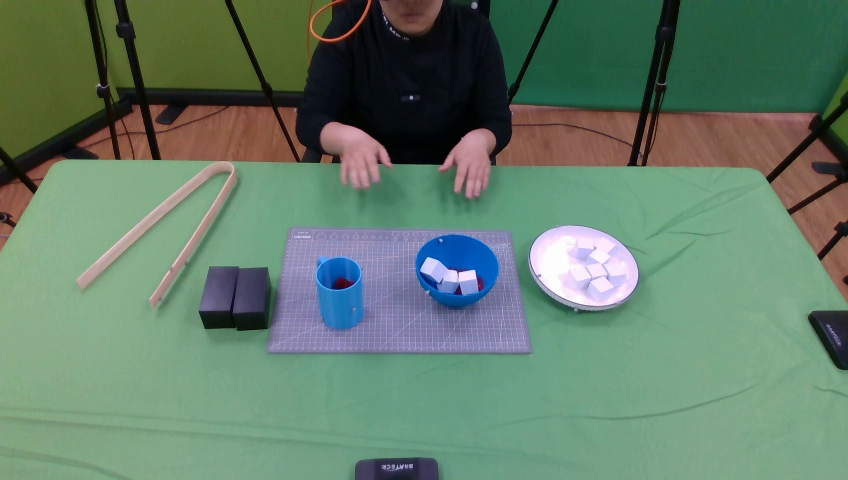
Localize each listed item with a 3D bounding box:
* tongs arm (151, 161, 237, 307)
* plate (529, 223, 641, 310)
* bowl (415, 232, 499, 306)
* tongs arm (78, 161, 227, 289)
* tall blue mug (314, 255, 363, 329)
[{"bbox_3d":[-0.447,-0.026,1.180,0.051,0.027,0.383,8,46,10],"label":"tongs arm"},{"bbox_3d":[0.303,0.053,1.156,0.209,0.038,0.208,2,46,-1],"label":"plate"},{"bbox_3d":[0.057,0.067,1.093,0.151,0.077,0.150,2,46,-2],"label":"bowl"},{"bbox_3d":[-0.524,-0.043,1.196,0.028,0.028,0.386,15,47,22],"label":"tongs arm"},{"bbox_3d":[-0.157,0.085,1.040,0.107,0.108,0.077,23,50,18],"label":"tall blue mug"}]
